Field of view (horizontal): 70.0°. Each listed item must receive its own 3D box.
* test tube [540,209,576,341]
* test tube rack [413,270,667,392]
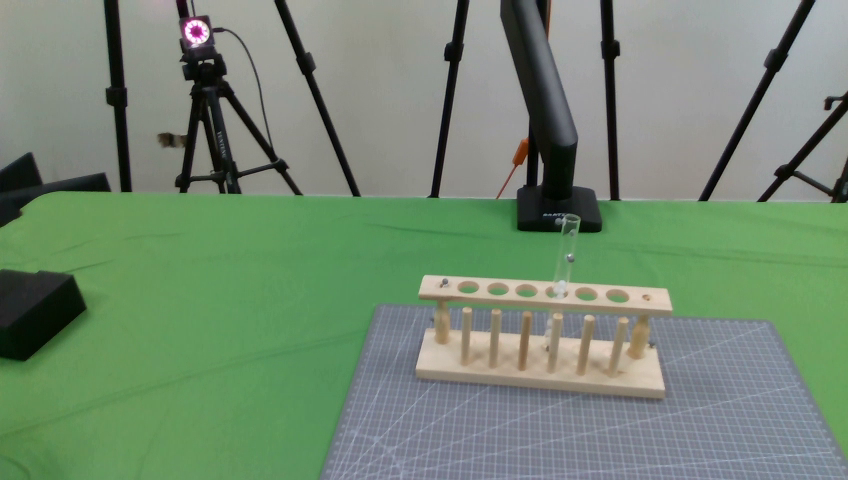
[{"bbox_3d":[0.131,0.039,0.596,0.017,0.151,0.017,2,30,-1],"label":"test tube"},{"bbox_3d":[0.111,0.090,0.610,0.242,0.086,0.066,3,33,9],"label":"test tube rack"}]
